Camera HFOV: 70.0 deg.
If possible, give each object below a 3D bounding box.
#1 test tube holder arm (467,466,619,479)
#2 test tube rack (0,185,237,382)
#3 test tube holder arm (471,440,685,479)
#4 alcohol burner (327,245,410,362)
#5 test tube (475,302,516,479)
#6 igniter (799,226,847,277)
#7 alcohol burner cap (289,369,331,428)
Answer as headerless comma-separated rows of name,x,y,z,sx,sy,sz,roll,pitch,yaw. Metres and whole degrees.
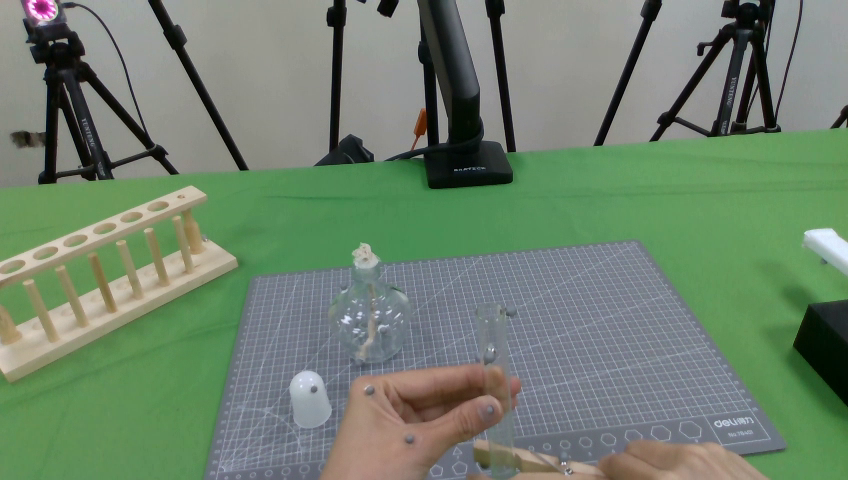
test tube holder arm,0.070,0.143,0.358,0.088,0.015,0.010,-7,36,7
test tube rack,-0.324,0.034,0.625,0.066,0.086,0.242,27,43,36
test tube holder arm,0.114,0.139,0.350,0.177,0.015,0.013,3,39,21
alcohol burner,-0.051,0.052,0.548,0.078,0.120,0.077,-1,35,1
test tube,0.042,0.100,0.347,0.017,0.151,0.017,-6,29,4
igniter,0.413,0.061,0.501,0.057,0.025,0.274,-6,31,-4
alcohol burner cap,-0.096,0.128,0.503,0.034,0.048,0.033,-1,34,1
